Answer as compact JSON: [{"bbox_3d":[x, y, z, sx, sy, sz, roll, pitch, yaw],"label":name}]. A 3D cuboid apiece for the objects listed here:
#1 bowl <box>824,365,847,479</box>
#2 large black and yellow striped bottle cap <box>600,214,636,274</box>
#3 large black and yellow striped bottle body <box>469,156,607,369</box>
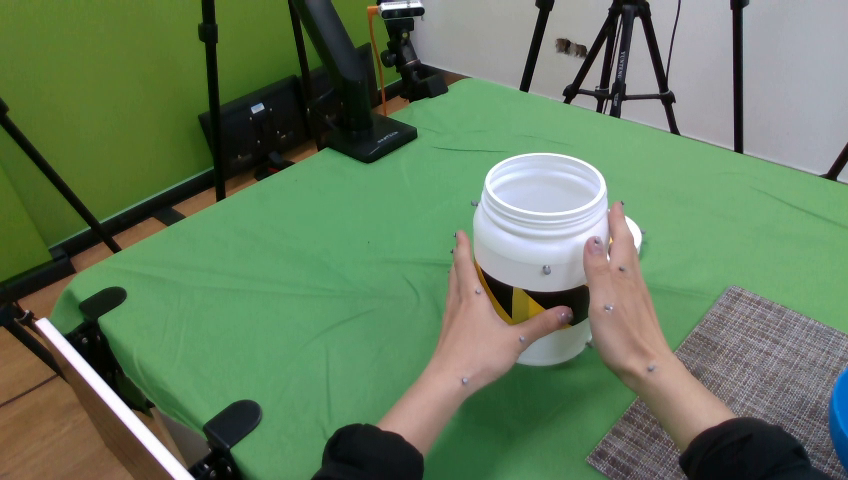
[{"bbox_3d":[0.382,0.170,0.463,0.151,0.077,0.150,-2,37,2],"label":"bowl"},{"bbox_3d":[0.207,0.000,0.763,0.115,0.019,0.114,-1,38,1],"label":"large black and yellow striped bottle cap"},{"bbox_3d":[0.109,0.022,0.601,0.131,0.185,0.129,-2,37,2],"label":"large black and yellow striped bottle body"}]
